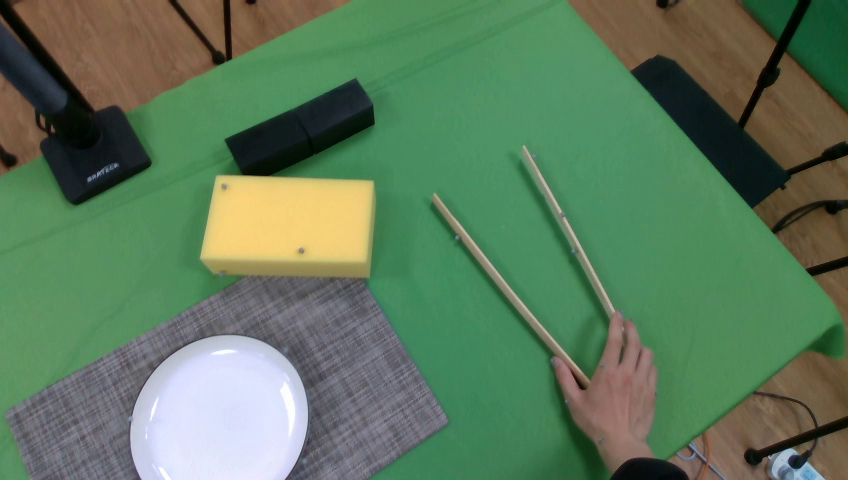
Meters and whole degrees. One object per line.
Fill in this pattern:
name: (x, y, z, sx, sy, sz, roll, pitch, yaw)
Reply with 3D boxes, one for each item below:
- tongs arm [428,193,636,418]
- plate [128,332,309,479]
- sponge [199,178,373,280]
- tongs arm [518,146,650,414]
tongs arm: (0.130, 0.081, 0.793, 0.028, 0.028, 0.385, -36, 76, -17)
plate: (-0.239, 0.215, 0.721, 0.208, 0.039, 0.206, 1, 70, -2)
sponge: (-0.175, -0.014, 0.797, 0.207, 0.061, 0.117, 1, 68, 0)
tongs arm: (0.199, 0.044, 0.807, 0.051, 0.026, 0.382, -24, 74, -11)
